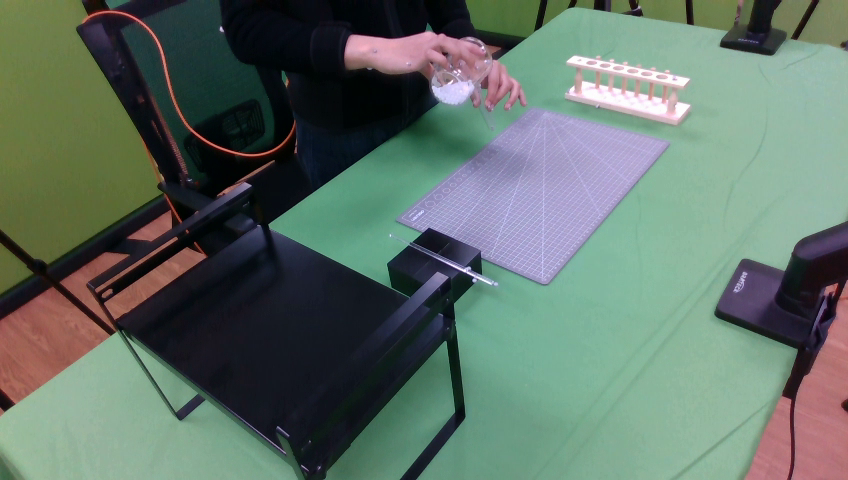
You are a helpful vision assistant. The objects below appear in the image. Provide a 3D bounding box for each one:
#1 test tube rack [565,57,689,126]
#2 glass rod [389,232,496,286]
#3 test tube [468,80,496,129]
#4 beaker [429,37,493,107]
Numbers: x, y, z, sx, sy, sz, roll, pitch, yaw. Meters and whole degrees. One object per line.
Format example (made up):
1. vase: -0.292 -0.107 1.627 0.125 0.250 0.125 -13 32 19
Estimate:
1. test tube rack: 0.412 -0.311 1.230 0.240 0.085 0.067 24 49 32
2. glass rod: 0.022 0.025 0.878 0.198 0.008 0.008 25 50 33
3. test tube: 0.106 -0.240 1.086 0.017 0.151 0.017 -7 68 18
4. beaker: 0.058 -0.264 0.966 0.073 0.084 0.100 16 47 22
